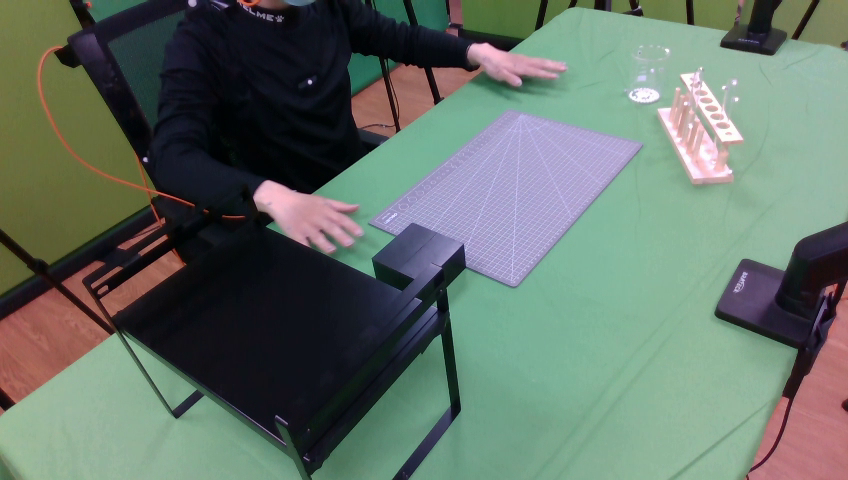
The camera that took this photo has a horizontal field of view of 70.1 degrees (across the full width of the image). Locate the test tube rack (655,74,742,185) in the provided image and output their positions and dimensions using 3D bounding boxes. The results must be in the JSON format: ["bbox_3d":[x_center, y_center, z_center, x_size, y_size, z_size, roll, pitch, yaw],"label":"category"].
[{"bbox_3d":[0.488,-0.205,1.093,0.067,0.085,0.241,-3,41,5],"label":"test tube rack"}]

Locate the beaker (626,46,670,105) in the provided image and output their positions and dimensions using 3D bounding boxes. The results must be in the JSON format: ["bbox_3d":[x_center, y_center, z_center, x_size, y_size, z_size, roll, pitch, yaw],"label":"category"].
[{"bbox_3d":[0.457,-0.336,1.240,0.084,0.101,0.073,-12,41,-6],"label":"beaker"}]

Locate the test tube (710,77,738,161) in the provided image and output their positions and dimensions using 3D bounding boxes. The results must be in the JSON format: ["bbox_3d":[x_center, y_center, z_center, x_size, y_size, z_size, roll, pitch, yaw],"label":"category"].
[{"bbox_3d":[0.499,-0.198,1.008,0.017,0.151,0.017,-3,37,3],"label":"test tube"}]

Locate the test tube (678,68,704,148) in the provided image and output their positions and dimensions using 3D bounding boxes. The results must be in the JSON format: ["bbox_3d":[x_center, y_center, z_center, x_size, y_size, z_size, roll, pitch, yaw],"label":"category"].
[{"bbox_3d":[0.465,-0.228,1.054,0.017,0.151,0.017,-3,41,3],"label":"test tube"}]
